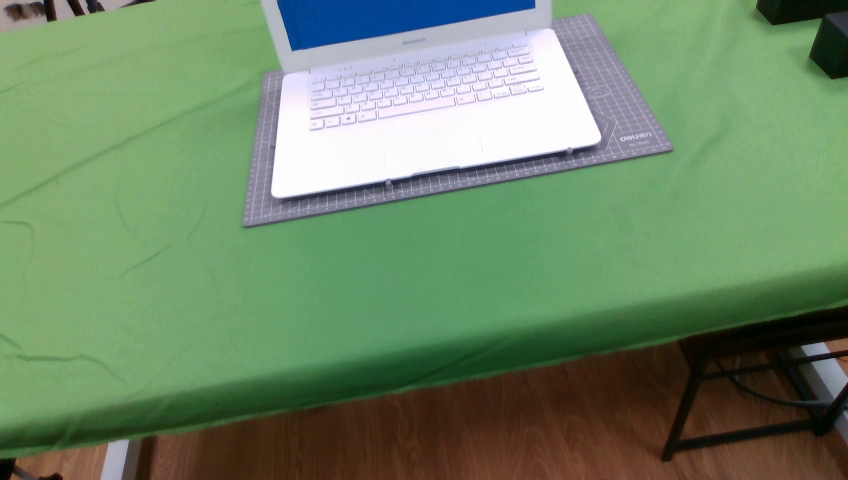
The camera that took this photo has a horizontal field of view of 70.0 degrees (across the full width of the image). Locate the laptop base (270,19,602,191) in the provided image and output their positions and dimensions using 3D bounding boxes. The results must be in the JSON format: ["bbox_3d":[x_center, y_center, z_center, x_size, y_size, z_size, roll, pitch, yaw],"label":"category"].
[{"bbox_3d":[0.002,-0.162,0.706,0.354,0.023,0.233,-9,51,2],"label":"laptop base"}]

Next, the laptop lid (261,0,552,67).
[{"bbox_3d":[-0.028,-0.338,0.708,0.357,0.244,0.013,-11,40,3],"label":"laptop lid"}]
